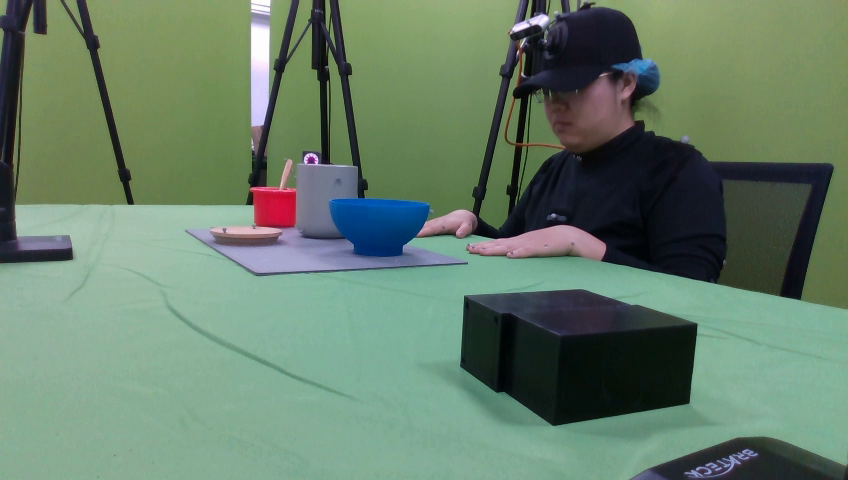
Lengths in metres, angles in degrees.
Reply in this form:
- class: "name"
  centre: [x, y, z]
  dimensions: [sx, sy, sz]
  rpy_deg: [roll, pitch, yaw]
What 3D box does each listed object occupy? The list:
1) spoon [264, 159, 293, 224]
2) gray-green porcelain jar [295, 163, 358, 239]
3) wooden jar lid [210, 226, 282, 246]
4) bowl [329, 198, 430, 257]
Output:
- class: "spoon"
  centre: [-0.288, -0.102, 1.227]
  dimensions: [0.041, 0.021, 0.193]
  rpy_deg: [1, 51, 3]
- class: "gray-green porcelain jar"
  centre: [-0.170, -0.069, 1.054]
  dimensions: [0.106, 0.126, 0.106]
  rpy_deg: [3, 7, 0]
- class: "wooden jar lid"
  centre: [-0.279, -0.007, 0.951]
  dimensions: [0.108, 0.020, 0.108]
  rpy_deg: [2, 8, 0]
- class: "bowl"
  centre: [-0.067, -0.019, 0.895]
  dimensions: [0.151, 0.077, 0.151]
  rpy_deg: [3, 7, 0]
